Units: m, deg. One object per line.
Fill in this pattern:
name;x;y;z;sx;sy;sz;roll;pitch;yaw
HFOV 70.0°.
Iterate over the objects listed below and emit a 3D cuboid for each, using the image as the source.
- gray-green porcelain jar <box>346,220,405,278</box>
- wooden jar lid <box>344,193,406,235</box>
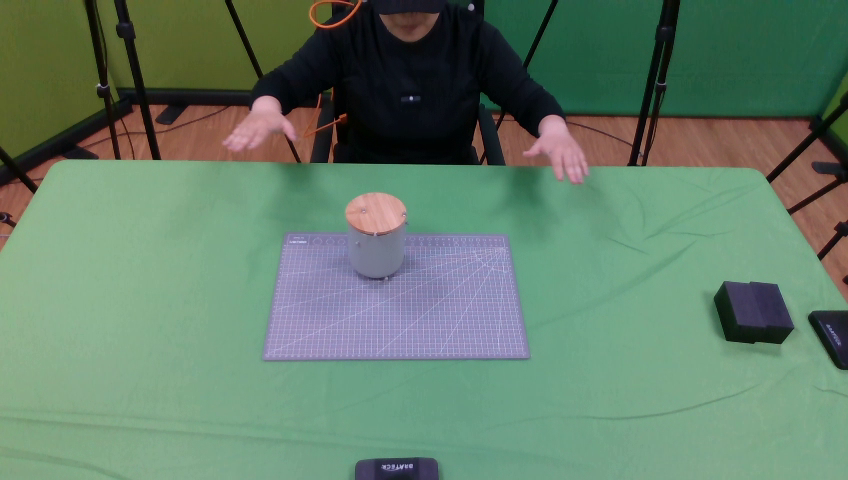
gray-green porcelain jar;-0.089;0.000;1.116;0.106;0.127;0.105;2;46;-2
wooden jar lid;-0.086;-0.043;1.071;0.108;0.021;0.107;3;44;-3
